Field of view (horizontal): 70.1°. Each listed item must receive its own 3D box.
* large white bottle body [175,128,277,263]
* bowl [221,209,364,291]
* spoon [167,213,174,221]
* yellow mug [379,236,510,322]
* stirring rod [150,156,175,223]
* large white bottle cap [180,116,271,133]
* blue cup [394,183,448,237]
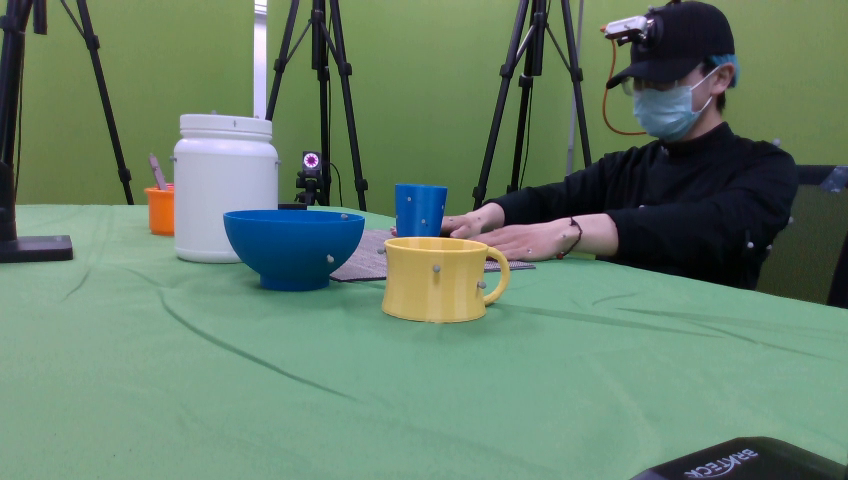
[{"bbox_3d":[-0.265,-0.068,0.814,0.131,0.184,0.130,2,7,0],"label":"large white bottle body"},{"bbox_3d":[-0.142,0.011,0.660,0.151,0.077,0.151,2,7,0],"label":"bowl"},{"bbox_3d":[-0.447,-0.104,1.192,0.041,0.022,0.193,7,52,14],"label":"spoon"},{"bbox_3d":[0.024,0.034,0.575,0.131,0.064,0.099,1,7,-22],"label":"yellow mug"},{"bbox_3d":[-0.446,-0.083,1.048,0.014,0.006,0.175,0,49,-47],"label":"stirring rod"},{"bbox_3d":[-0.262,-0.152,0.803,0.115,0.018,0.115,2,7,0],"label":"large white bottle cap"},{"bbox_3d":[-0.008,-0.037,0.954,0.093,0.100,0.092,4,7,0],"label":"blue cup"}]
